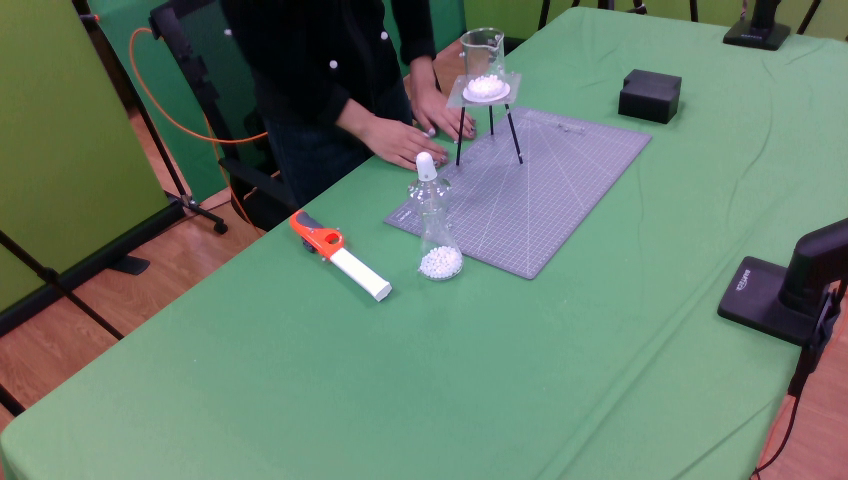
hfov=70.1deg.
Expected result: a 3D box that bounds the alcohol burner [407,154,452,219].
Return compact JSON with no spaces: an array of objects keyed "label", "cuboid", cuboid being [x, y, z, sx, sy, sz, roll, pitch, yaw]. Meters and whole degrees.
[{"label":"alcohol burner","cuboid":[0.008,-0.096,1.020,0.078,0.119,0.077,-4,40,4]}]

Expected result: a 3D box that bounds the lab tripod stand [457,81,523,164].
[{"label":"lab tripod stand","cuboid":[0.120,-0.219,1.129,0.148,0.132,0.147,-7,39,6]}]

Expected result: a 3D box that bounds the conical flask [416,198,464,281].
[{"label":"conical flask","cuboid":[0.019,-0.004,0.907,0.075,0.122,0.075,-5,40,5]}]

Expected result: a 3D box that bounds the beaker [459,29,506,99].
[{"label":"beaker","cuboid":[0.107,-0.305,1.056,0.074,0.101,0.083,-27,43,-18]}]

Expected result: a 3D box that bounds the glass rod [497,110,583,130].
[{"label":"glass rod","cuboid":[0.233,-0.245,1.235,0.198,0.008,0.008,20,49,35]}]

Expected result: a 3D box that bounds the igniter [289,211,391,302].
[{"label":"igniter","cuboid":[-0.146,0.019,0.985,0.057,0.025,0.274,-40,48,-18]}]

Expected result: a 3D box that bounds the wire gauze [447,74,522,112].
[{"label":"wire gauze","cuboid":[0.110,-0.268,1.087,0.121,0.011,0.125,1,43,15]}]

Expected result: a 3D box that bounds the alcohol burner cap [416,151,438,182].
[{"label":"alcohol burner cap","cuboid":[0.003,-0.123,0.996,0.034,0.048,0.033,-10,37,8]}]
